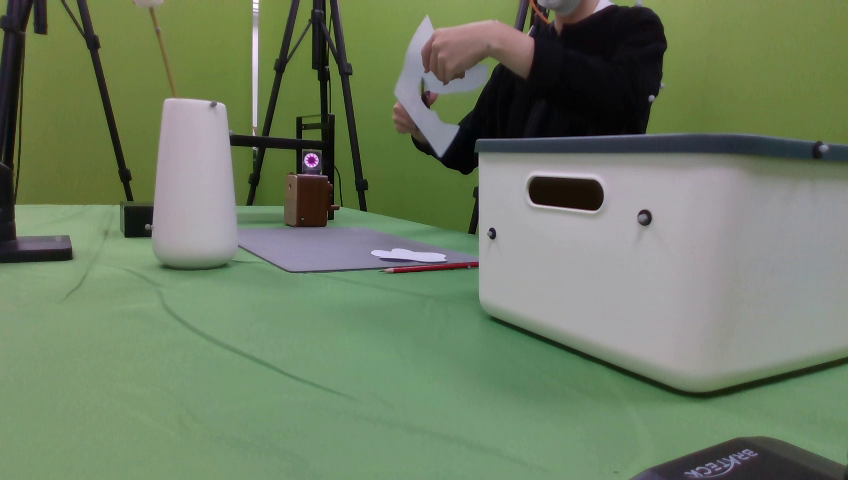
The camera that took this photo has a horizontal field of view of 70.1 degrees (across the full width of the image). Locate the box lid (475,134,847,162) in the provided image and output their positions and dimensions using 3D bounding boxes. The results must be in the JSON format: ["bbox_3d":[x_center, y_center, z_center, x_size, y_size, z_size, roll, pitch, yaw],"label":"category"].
[{"bbox_3d":[0.256,-0.073,0.528,0.373,0.015,0.262,-2,8,-31],"label":"box lid"}]

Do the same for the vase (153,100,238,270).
[{"bbox_3d":[-0.278,-0.066,0.736,0.098,0.200,0.098,2,9,0],"label":"vase"}]

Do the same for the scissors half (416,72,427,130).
[{"bbox_3d":[-0.006,-0.251,1.103,0.013,0.040,0.175,19,-22,7],"label":"scissors half"}]

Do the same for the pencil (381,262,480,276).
[{"bbox_3d":[0.030,0.037,0.794,0.195,0.012,0.012,-4,10,-30],"label":"pencil"}]

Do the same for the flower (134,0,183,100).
[{"bbox_3d":[-0.282,-0.147,0.713,0.038,0.362,0.044,-23,24,-31],"label":"flower"}]

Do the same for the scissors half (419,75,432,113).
[{"bbox_3d":[0.001,-0.271,1.107,0.013,0.040,0.175,14,-1,6],"label":"scissors half"}]

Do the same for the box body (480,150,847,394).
[{"bbox_3d":[0.254,0.001,0.539,0.366,0.160,0.253,-2,9,-31],"label":"box body"}]

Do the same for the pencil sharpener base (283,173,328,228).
[{"bbox_3d":[-0.239,-0.081,1.231,0.077,0.107,0.061,-2,8,-36],"label":"pencil sharpener base"}]

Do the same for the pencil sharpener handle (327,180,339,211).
[{"bbox_3d":[-0.194,-0.094,1.256,0.031,0.067,0.036,-2,-6,-36],"label":"pencil sharpener handle"}]
